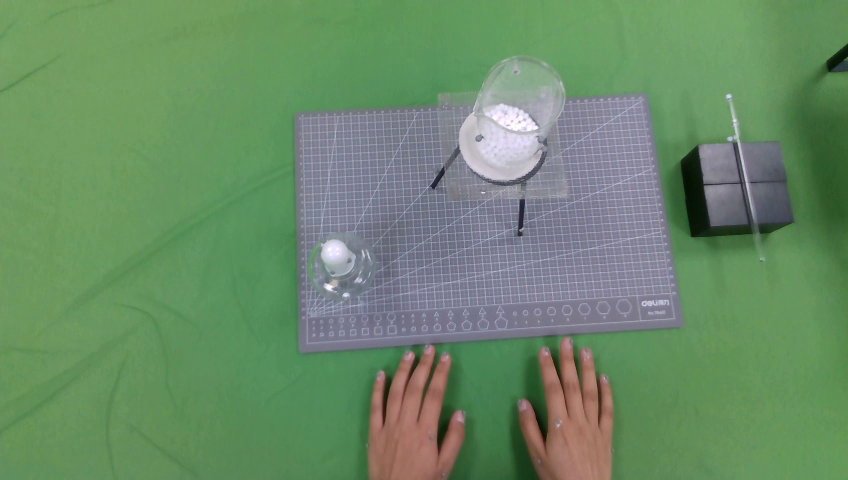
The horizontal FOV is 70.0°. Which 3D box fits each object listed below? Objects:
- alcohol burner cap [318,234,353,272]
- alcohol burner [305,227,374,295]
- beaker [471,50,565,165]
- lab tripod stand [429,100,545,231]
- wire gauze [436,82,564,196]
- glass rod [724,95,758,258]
[{"bbox_3d":[-0.094,0.012,0.627,0.034,0.048,0.033,-1,72,3],"label":"alcohol burner cap"},{"bbox_3d":[-0.094,0.019,0.662,0.078,0.119,0.077,0,78,-2],"label":"alcohol burner"},{"bbox_3d":[0.080,-0.118,0.572,0.084,0.100,0.073,-20,78,-6],"label":"beaker"},{"bbox_3d":[0.079,-0.091,0.682,0.148,0.132,0.147,0,75,0],"label":"lab tripod stand"},{"bbox_3d":[0.077,-0.102,0.617,0.125,0.011,0.121,-2,78,-5],"label":"wire gauze"},{"bbox_3d":[0.369,-0.077,0.705,0.008,0.008,0.198,-3,78,-2],"label":"glass rod"}]
